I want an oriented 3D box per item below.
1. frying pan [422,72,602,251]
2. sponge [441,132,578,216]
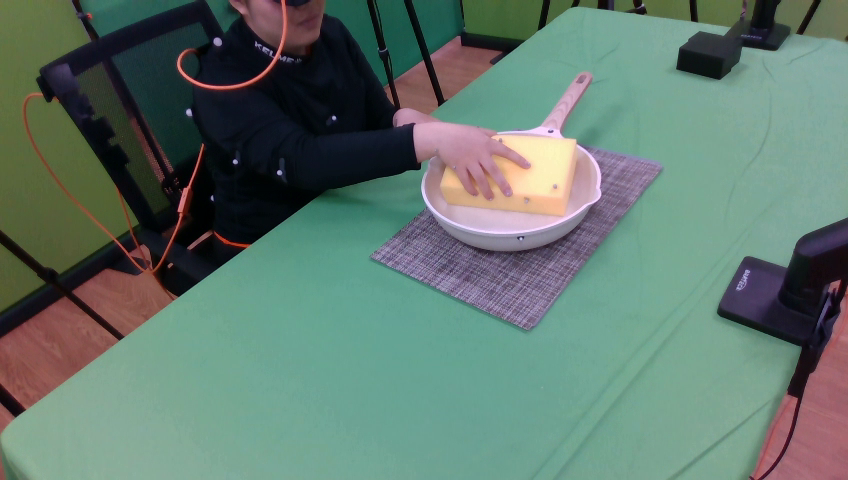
[{"bbox_3d":[0.199,-0.155,1.062,0.304,0.103,0.488,19,56,28],"label":"frying pan"},{"bbox_3d":[0.146,-0.113,1.024,0.206,0.061,0.118,7,63,18],"label":"sponge"}]
